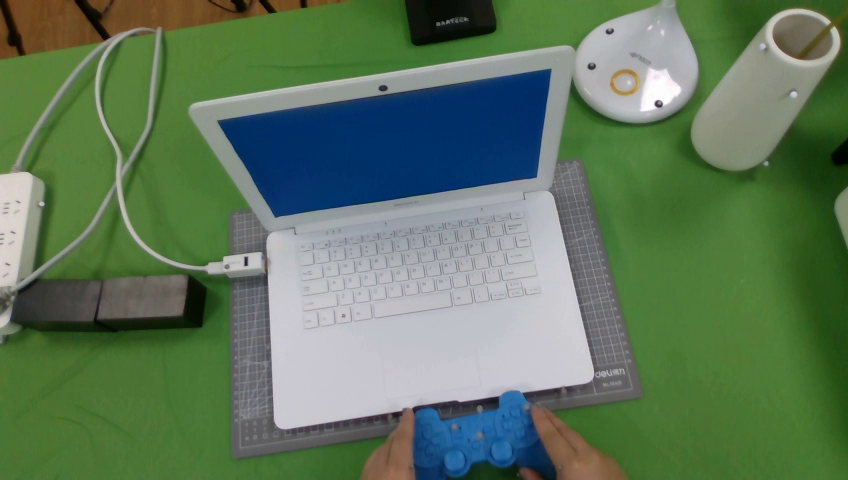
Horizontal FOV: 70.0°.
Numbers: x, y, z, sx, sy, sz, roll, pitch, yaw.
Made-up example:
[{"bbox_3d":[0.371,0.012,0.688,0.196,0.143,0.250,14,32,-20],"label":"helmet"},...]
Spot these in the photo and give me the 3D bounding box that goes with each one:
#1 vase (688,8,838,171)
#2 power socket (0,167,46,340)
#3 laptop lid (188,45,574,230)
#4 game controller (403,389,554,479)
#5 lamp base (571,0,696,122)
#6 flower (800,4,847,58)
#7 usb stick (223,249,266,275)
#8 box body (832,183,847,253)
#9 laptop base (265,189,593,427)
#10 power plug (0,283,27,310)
[{"bbox_3d":[0.365,-0.159,0.667,0.098,0.201,0.097,-2,67,5],"label":"vase"},{"bbox_3d":[-0.523,0.011,0.750,0.072,0.033,0.225,-6,68,1],"label":"power socket"},{"bbox_3d":[-0.030,-0.093,0.637,0.357,0.244,0.013,-9,62,2],"label":"laptop lid"},{"bbox_3d":[0.053,0.212,0.628,0.155,0.052,0.096,-10,67,-1],"label":"game controller"},{"bbox_3d":[0.272,-0.263,0.724,0.160,0.181,0.178,23,70,12],"label":"lamp base"},{"bbox_3d":[0.379,-0.191,0.591,0.038,0.363,0.043,5,59,-12],"label":"flower"},{"bbox_3d":[-0.205,0.026,0.717,0.059,0.027,0.021,-5,67,-4],"label":"usb stick"},{"bbox_3d":[0.604,0.064,0.586,0.254,0.161,0.361,-7,69,2],"label":"box body"},{"bbox_3d":[-0.004,0.071,0.700,0.354,0.023,0.234,-9,72,0],"label":"laptop base"},{"bbox_3d":[-0.488,0.071,0.704,0.072,0.053,0.035,6,68,4],"label":"power plug"}]
